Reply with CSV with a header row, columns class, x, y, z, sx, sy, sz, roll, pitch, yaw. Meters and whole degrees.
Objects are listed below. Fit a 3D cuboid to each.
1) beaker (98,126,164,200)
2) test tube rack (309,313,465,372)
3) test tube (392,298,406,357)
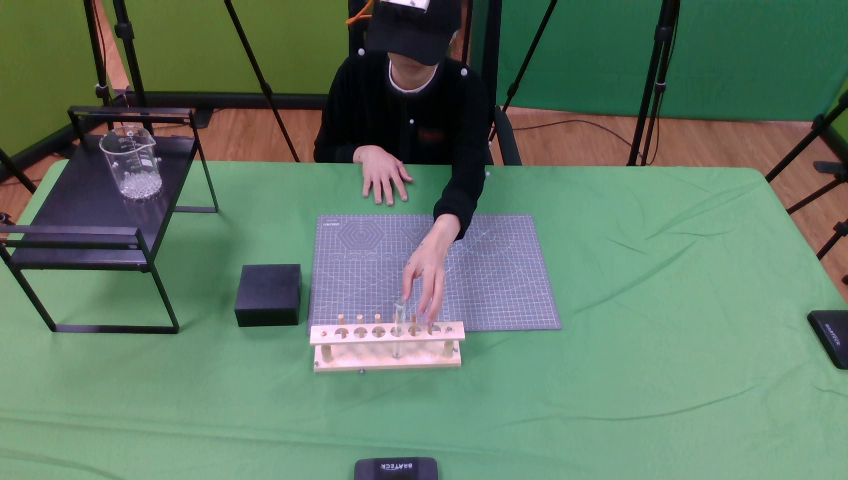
class,x,y,z,sx,sy,sz,roll,pitch,yaw
beaker,-0.464,-0.122,0.977,0.084,0.101,0.073,0,46,-5
test tube rack,-0.059,0.161,0.990,0.242,0.085,0.066,-1,46,-5
test tube,-0.039,0.140,0.943,0.017,0.151,0.017,3,48,-3
